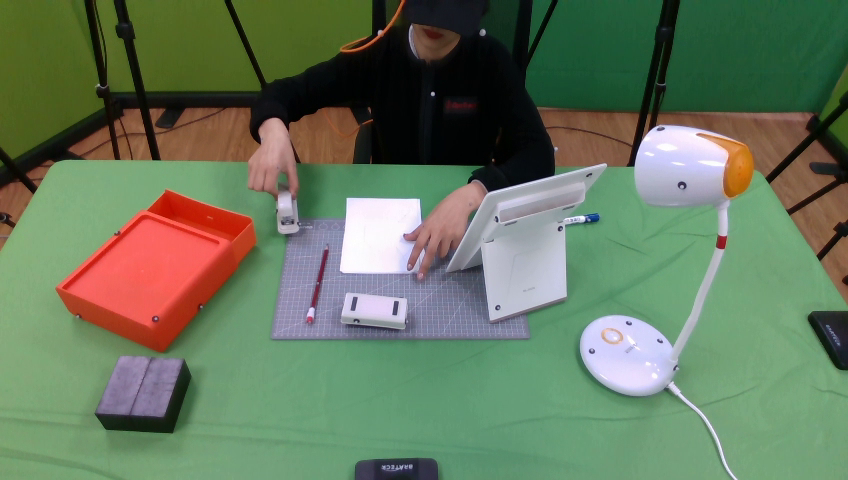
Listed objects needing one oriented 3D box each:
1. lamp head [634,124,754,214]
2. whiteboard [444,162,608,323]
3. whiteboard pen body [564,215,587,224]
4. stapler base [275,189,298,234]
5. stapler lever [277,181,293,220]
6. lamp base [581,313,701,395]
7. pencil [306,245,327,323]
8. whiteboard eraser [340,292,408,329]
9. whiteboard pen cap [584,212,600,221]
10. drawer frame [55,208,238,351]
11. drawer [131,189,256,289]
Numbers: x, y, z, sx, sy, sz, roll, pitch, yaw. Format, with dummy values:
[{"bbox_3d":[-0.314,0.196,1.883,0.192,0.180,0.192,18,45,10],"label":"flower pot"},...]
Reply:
[{"bbox_3d":[0.351,-0.089,0.775,0.112,0.113,0.122,-30,30,-28],"label":"lamp head"},{"bbox_3d":[0.186,0.025,1.028,0.217,0.306,0.143,-14,68,-18],"label":"whiteboard"},{"bbox_3d":[0.291,-0.040,1.261,0.141,0.017,0.017,-6,47,-11],"label":"whiteboard pen body"},{"bbox_3d":[-0.277,-0.065,1.216,0.041,0.024,0.129,-5,44,-13],"label":"stapler base"},{"bbox_3d":[-0.277,-0.085,1.199,0.027,0.040,0.117,-5,43,-13],"label":"stapler lever"},{"bbox_3d":[0.361,0.144,0.972,0.178,0.181,0.160,34,53,23],"label":"lamp base"},{"bbox_3d":[-0.195,0.076,1.115,0.012,0.012,0.193,4,44,0],"label":"pencil"},{"bbox_3d":[-0.087,0.125,1.052,0.113,0.042,0.055,5,45,1],"label":"whiteboard eraser"},{"bbox_3d":[0.351,-0.049,1.271,0.033,0.018,0.018,-7,47,-11],"label":"whiteboard pen cap"},{"bbox_3d":[-0.474,0.062,1.059,0.201,0.083,0.213,19,48,13],"label":"drawer frame"},{"bbox_3d":[-0.449,0.019,1.105,0.194,0.073,0.211,19,48,12],"label":"drawer"}]
